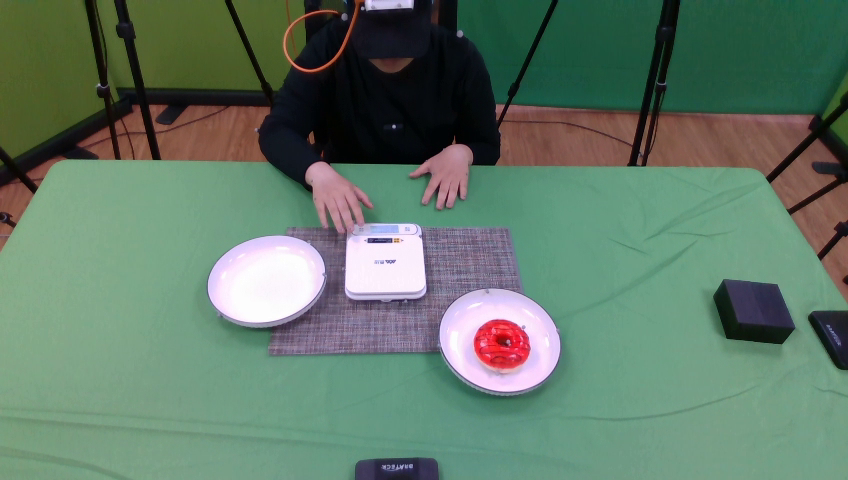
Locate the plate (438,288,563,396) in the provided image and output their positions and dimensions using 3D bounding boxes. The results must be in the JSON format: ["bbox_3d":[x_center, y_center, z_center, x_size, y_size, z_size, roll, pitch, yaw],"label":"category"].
[{"bbox_3d":[0.127,0.173,1.025,0.209,0.038,0.208,3,48,-3],"label":"plate"}]

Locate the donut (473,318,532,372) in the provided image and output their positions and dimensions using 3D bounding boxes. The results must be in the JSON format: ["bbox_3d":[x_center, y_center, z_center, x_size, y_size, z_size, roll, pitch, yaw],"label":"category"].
[{"bbox_3d":[0.131,0.174,1.010,0.099,0.048,0.098,1,48,-1],"label":"donut"}]

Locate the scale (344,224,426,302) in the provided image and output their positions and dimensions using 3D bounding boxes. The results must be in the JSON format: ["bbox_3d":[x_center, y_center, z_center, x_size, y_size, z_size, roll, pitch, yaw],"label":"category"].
[{"bbox_3d":[-0.075,0.033,1.149,0.149,0.032,0.199,0,45,-5],"label":"scale"}]

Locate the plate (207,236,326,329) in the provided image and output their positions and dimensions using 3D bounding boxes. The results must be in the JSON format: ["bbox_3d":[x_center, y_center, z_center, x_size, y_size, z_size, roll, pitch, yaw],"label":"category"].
[{"bbox_3d":[-0.278,0.078,1.088,0.208,0.039,0.206,1,46,0],"label":"plate"}]
